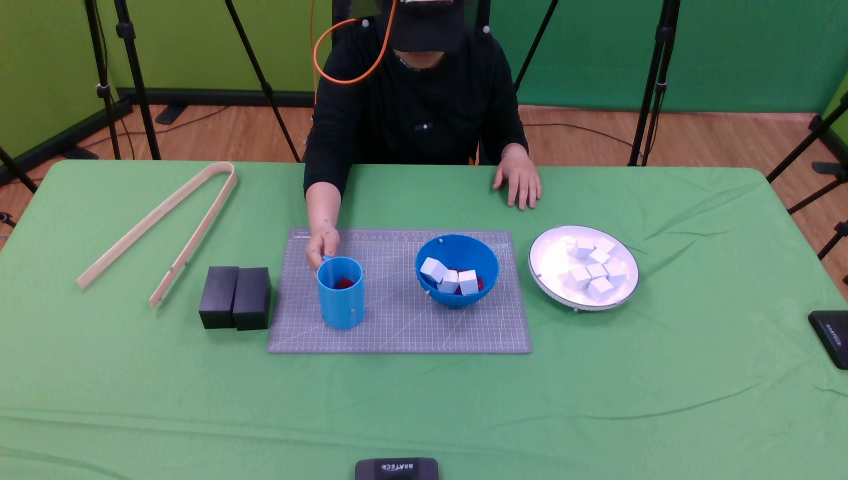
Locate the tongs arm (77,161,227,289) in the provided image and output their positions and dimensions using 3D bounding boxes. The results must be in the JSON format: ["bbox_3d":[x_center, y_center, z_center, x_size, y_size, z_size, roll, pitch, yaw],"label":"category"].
[{"bbox_3d":[-0.524,-0.043,1.196,0.028,0.028,0.386,15,47,21],"label":"tongs arm"}]

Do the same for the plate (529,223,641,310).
[{"bbox_3d":[0.303,0.053,1.156,0.209,0.038,0.208,2,46,-1],"label":"plate"}]

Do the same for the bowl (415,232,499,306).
[{"bbox_3d":[0.057,0.067,1.093,0.151,0.077,0.150,2,46,-2],"label":"bowl"}]

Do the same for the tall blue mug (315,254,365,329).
[{"bbox_3d":[-0.154,0.083,1.042,0.107,0.108,0.077,28,52,22],"label":"tall blue mug"}]

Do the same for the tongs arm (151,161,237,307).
[{"bbox_3d":[-0.447,-0.026,1.180,0.051,0.026,0.383,8,46,10],"label":"tongs arm"}]
